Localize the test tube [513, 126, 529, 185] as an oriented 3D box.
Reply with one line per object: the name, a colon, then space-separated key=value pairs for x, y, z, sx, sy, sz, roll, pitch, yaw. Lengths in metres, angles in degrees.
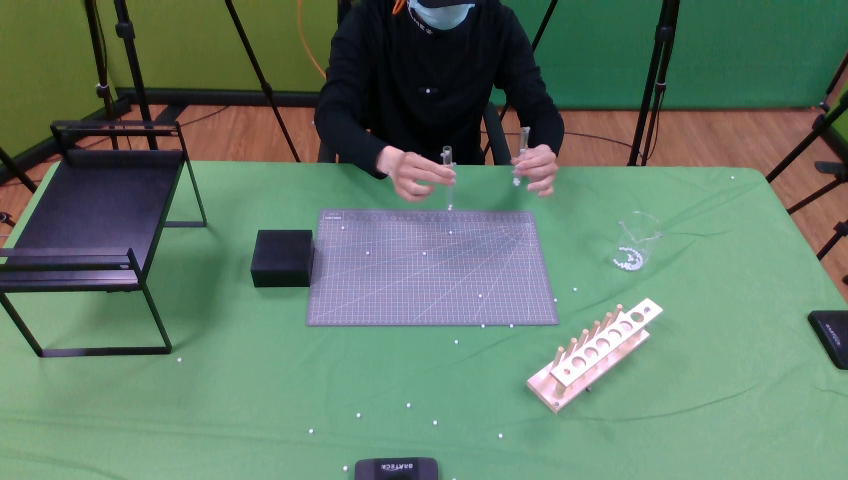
test tube: x=0.183 y=-0.156 z=1.147 sx=0.017 sy=0.151 sz=0.017 roll=-1 pitch=53 yaw=1

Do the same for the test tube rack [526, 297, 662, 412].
test tube rack: x=0.284 y=0.176 z=1.007 sx=0.242 sy=0.085 sz=0.066 roll=-29 pitch=54 yaw=-27

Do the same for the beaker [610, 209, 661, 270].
beaker: x=0.404 y=0.005 z=1.170 sx=0.074 sy=0.101 sz=0.083 roll=20 pitch=49 yaw=15

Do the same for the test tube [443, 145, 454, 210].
test tube: x=0.046 y=-0.113 z=1.122 sx=0.017 sy=0.151 sz=0.017 roll=-3 pitch=46 yaw=3
